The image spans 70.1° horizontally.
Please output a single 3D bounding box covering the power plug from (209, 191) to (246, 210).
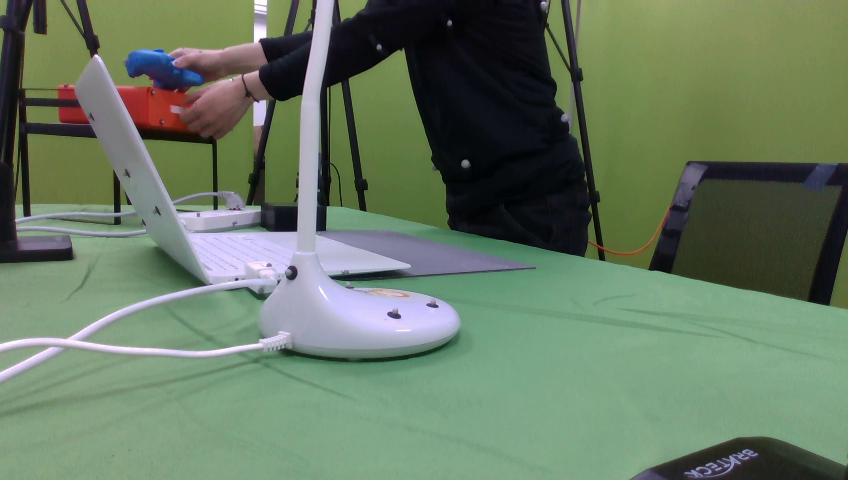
[{"bbox_3d":[-0.388,-0.071,1.205,0.072,0.052,0.035,5,10,25],"label":"power plug"}]

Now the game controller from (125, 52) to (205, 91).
[{"bbox_3d":[-0.513,-0.335,1.195,0.097,0.051,0.155,-13,-4,7],"label":"game controller"}]

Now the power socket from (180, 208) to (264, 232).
[{"bbox_3d":[-0.381,-0.038,1.128,0.072,0.032,0.227,5,8,16],"label":"power socket"}]

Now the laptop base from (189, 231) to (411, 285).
[{"bbox_3d":[-0.204,0.019,0.807,0.237,0.023,0.352,0,7,-33],"label":"laptop base"}]

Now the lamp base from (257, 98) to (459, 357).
[{"bbox_3d":[-0.055,-0.014,0.463,0.160,0.180,0.180,6,11,27],"label":"lamp base"}]

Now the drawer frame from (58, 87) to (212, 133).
[{"bbox_3d":[-0.593,-0.269,1.260,0.213,0.082,0.202,3,8,14],"label":"drawer frame"}]

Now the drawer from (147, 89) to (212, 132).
[{"bbox_3d":[-0.588,-0.268,1.260,0.211,0.073,0.195,4,8,15],"label":"drawer"}]

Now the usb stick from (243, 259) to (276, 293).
[{"bbox_3d":[-0.166,0.035,0.604,0.021,0.027,0.059,-8,8,-28],"label":"usb stick"}]

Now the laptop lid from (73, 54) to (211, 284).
[{"bbox_3d":[-0.341,-0.079,0.704,0.013,0.242,0.355,-30,23,-26],"label":"laptop lid"}]
